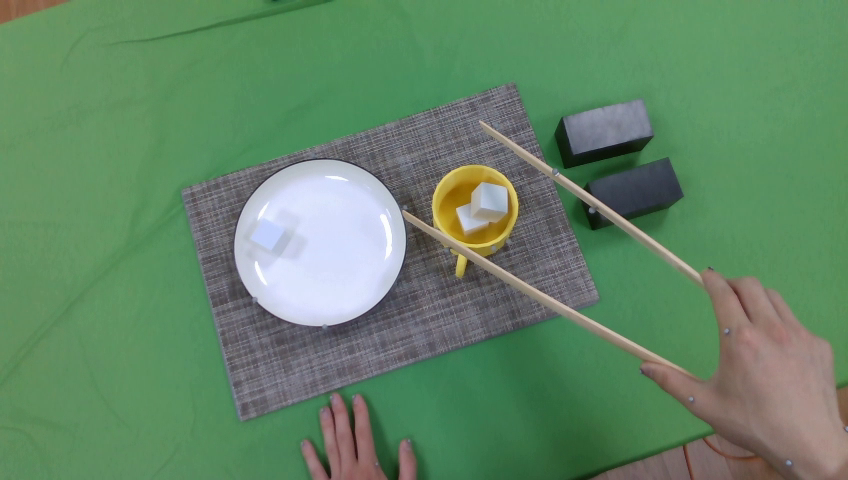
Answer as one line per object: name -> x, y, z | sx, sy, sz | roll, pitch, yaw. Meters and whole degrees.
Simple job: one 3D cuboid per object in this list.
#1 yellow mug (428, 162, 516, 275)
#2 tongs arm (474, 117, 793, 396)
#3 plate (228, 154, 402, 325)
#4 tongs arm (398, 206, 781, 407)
yellow mug -> 0.052, -0.021, 0.718 | 0.100, 0.064, 0.130 | 13, 79, 4
tongs arm -> 0.164, -0.007, 0.558 | 0.051, 0.027, 0.381 | -46, 57, -3
plate -> -0.129, 0.001, 0.734 | 0.207, 0.039, 0.206 | 0, 79, 2
tongs arm -> 0.118, 0.047, 0.554 | 0.384, 0.028, 0.028 | 29, 76, 32
